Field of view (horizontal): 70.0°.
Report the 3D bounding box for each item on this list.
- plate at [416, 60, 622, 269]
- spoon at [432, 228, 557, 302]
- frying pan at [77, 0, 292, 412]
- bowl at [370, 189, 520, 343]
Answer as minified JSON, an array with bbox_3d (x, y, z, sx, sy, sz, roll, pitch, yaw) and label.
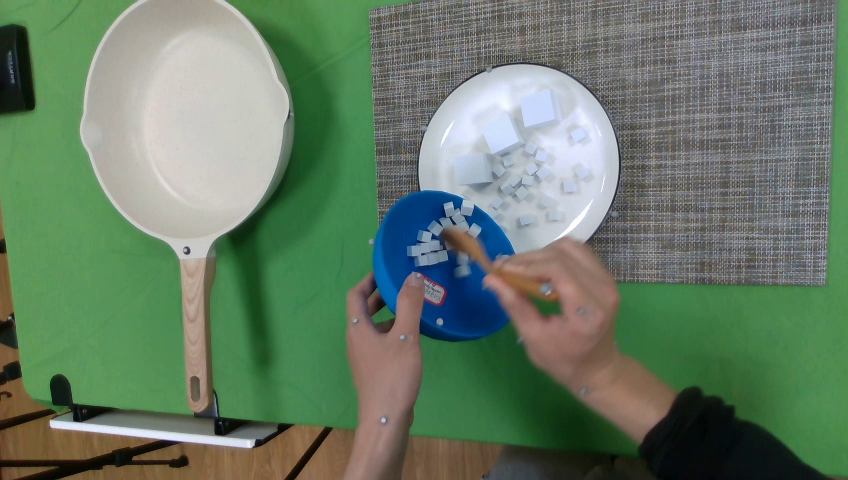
[{"bbox_3d":[0.095,-0.075,0.622,0.207,0.039,0.208,2,97,20],"label":"plate"},{"bbox_3d":[0.051,0.020,0.484,0.021,0.192,0.042,-45,114,-4],"label":"spoon"},{"bbox_3d":[-0.280,-0.040,0.731,0.306,0.103,0.487,-2,87,21],"label":"frying pan"},{"bbox_3d":[0.009,0.035,0.576,0.151,0.151,0.077,54,139,7],"label":"bowl"}]
